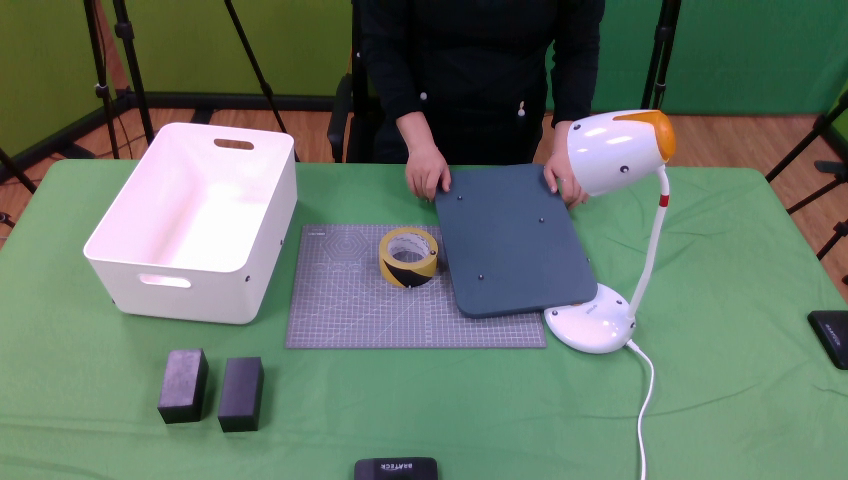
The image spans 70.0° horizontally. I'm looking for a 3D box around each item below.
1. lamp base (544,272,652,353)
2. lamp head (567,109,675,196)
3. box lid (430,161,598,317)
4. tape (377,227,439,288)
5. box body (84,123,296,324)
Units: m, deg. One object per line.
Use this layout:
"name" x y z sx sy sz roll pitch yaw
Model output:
"lamp base" 0.310 0.086 1.029 0.178 0.181 0.160 32 52 21
"lamp head" 0.272 -0.123 0.818 0.122 0.113 0.112 -9 35 37
"box lid" 0.164 -0.015 1.187 0.263 0.015 0.369 -7 51 -5
"tape" -0.031 0.032 1.140 0.117 0.053 0.116 2 46 -2
"box body" -0.392 -0.035 1.104 0.254 0.161 0.362 5 46 1
